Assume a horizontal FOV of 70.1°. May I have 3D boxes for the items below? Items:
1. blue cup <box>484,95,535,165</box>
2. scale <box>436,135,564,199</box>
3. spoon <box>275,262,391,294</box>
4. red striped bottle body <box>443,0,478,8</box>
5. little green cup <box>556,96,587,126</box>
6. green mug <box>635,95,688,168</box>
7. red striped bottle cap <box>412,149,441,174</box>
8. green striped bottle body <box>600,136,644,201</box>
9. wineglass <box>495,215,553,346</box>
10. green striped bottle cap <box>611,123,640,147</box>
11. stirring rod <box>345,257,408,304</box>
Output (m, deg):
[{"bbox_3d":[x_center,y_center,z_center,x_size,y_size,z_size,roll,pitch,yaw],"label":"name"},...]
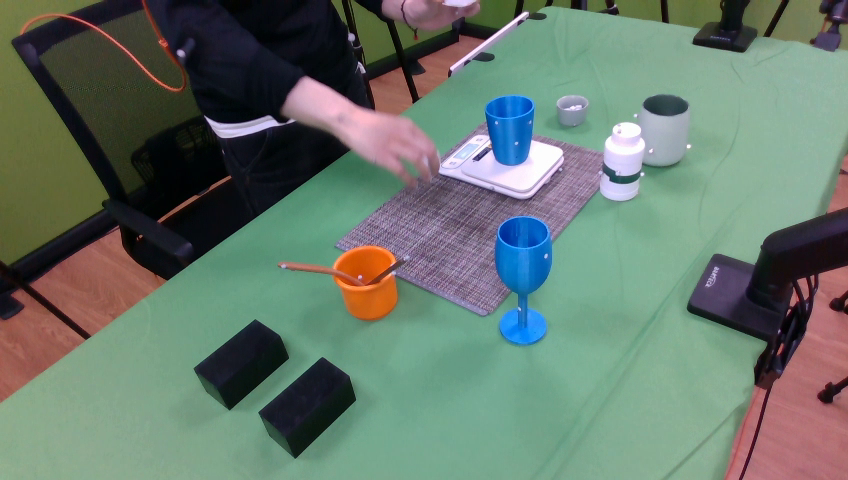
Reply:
[{"bbox_3d":[0.150,-0.188,1.053,0.092,0.100,0.092,-5,39,5],"label":"blue cup"},{"bbox_3d":[0.137,-0.142,1.101,0.199,0.032,0.149,22,48,30],"label":"scale"},{"bbox_3d":[-0.120,0.050,0.830,0.041,0.195,0.021,31,97,45],"label":"spoon"},{"bbox_3d":[0.052,-0.428,0.930,0.063,0.120,0.062,-6,46,7],"label":"red striped bottle body"},{"bbox_3d":[0.295,-0.258,1.214,0.061,0.039,0.061,-4,42,4],"label":"little green cup"},{"bbox_3d":[0.421,-0.201,1.081,0.092,0.105,0.125,5,42,15],"label":"green mug"},{"bbox_3d":[0.003,-0.124,0.953,0.044,0.018,0.044,-7,47,8],"label":"red striped bottle cap"},{"bbox_3d":[0.326,-0.128,0.997,0.063,0.120,0.063,-4,41,4],"label":"green striped bottle body"},{"bbox_3d":[0.127,0.055,0.770,0.074,0.173,0.073,-4,40,4],"label":"wineglass"},{"bbox_3d":[0.322,-0.168,0.963,0.044,0.020,0.044,-3,42,3],"label":"green striped bottle cap"},{"bbox_3d":[-0.067,0.057,0.815,0.014,0.175,0.006,-24,82,-38],"label":"stirring rod"}]
